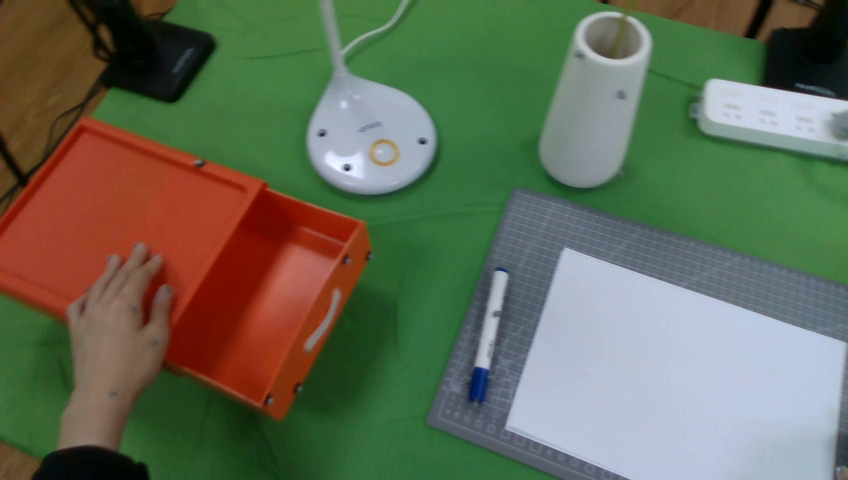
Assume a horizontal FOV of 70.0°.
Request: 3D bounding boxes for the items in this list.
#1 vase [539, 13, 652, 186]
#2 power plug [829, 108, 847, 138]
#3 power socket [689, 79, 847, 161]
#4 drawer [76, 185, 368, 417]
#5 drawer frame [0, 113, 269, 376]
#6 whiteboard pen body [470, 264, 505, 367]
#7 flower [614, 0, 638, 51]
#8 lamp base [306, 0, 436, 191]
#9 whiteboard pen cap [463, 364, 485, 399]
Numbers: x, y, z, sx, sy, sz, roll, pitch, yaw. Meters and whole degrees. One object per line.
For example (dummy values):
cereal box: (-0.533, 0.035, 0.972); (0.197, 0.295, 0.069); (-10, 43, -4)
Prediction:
vase: (0.181, -0.144, 0.654); (0.098, 0.201, 0.097); (-1, 62, 3)
power plug: (0.487, -0.121, 0.701); (0.035, 0.053, 0.072); (22, 67, 13)
power socket: (0.446, -0.146, 0.741); (0.226, 0.033, 0.072); (13, 64, 8)
drawer: (-0.189, 0.037, 0.587); (0.211, 0.074, 0.193); (21, 66, 12)
drawer frame: (-0.290, 0.000, 0.607); (0.213, 0.083, 0.200); (21, 66, 8)
whiteboard pen body: (0.064, 0.090, 0.632); (0.017, 0.017, 0.140); (12, 66, 8)
flower: (0.191, -0.195, 0.587); (0.038, 0.364, 0.043); (7, 45, -2)
lamp base: (-0.075, -0.173, 0.686); (0.160, 0.182, 0.177); (-32, 63, -14)
whiteboard pen cap: (0.051, 0.142, 0.608); (0.018, 0.018, 0.033); (12, 65, 8)
